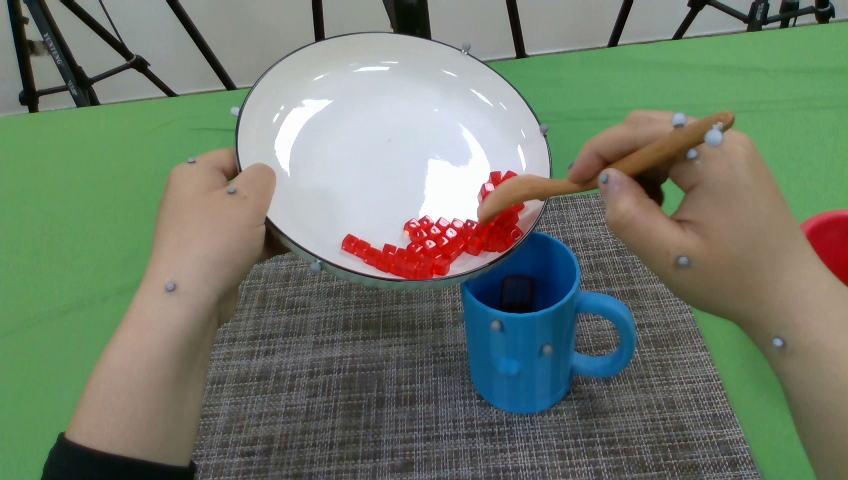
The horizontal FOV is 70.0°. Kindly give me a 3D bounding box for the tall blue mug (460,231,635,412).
[{"bbox_3d":[0.081,0.055,0.418,0.107,0.109,0.077,-10,43,-1],"label":"tall blue mug"}]

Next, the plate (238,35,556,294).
[{"bbox_3d":[-0.016,-0.053,0.409,0.208,0.039,0.205,5,59,-8],"label":"plate"}]

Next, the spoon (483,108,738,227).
[{"bbox_3d":[0.081,-0.032,0.310,0.041,0.022,0.193,-37,9,-22],"label":"spoon"}]
